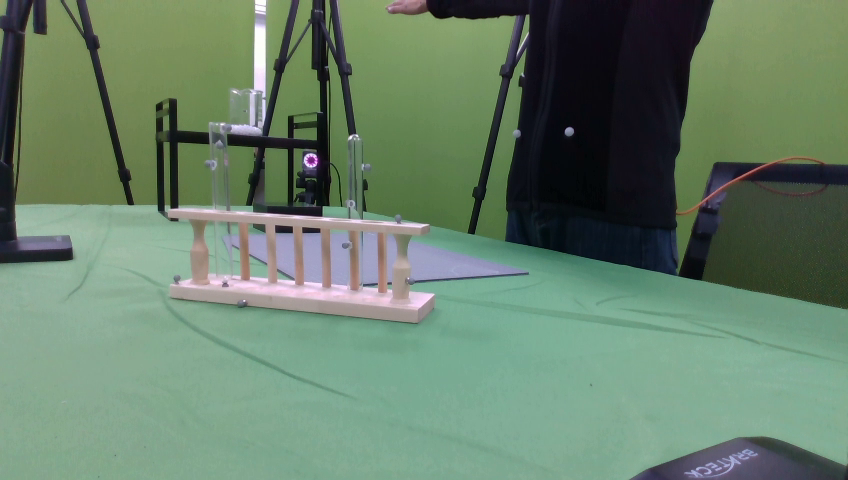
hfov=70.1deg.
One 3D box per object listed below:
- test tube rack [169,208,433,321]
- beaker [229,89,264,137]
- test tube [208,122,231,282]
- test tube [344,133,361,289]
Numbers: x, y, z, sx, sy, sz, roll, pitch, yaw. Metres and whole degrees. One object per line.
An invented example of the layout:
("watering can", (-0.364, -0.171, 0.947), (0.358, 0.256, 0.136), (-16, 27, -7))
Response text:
("test tube rack", (-0.115, 0.017, 0.574), (0.242, 0.085, 0.067), (4, 8, 13))
("beaker", (-0.391, -0.277, 1.329), (0.074, 0.100, 0.084), (2, 8, -1))
("test tube", (-0.191, -0.034, 0.565), (0.017, 0.150, 0.017), (1, 11, 0))
("test tube", (-0.068, -0.025, 0.575), (0.017, 0.150, 0.017), (1, 11, 0))
